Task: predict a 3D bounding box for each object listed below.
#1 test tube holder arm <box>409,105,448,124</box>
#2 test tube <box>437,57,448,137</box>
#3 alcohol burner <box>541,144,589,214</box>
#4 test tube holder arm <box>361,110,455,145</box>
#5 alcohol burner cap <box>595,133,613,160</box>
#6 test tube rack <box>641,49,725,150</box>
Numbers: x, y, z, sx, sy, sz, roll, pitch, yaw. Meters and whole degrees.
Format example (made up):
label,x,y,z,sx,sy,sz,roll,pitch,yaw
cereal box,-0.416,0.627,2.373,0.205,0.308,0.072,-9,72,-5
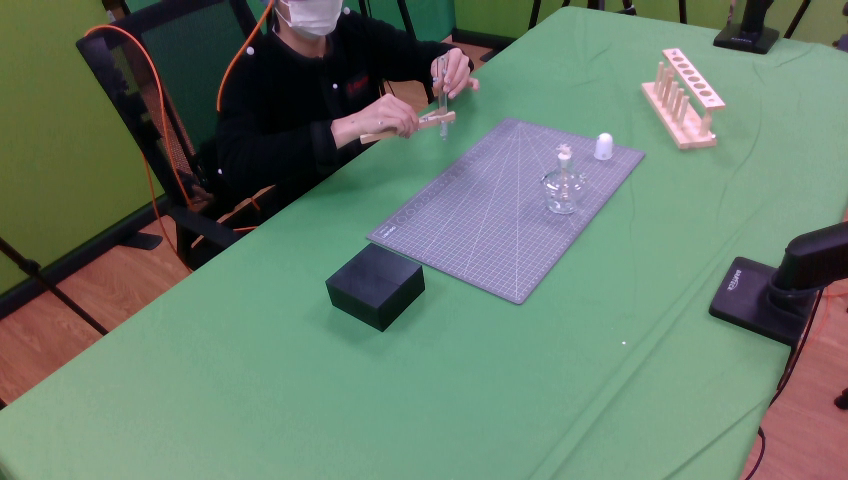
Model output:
label,x,y,z,sx,sy,sz,roll,pitch,yaw
test tube holder arm,0.008,-0.218,1.077,0.088,0.015,0.010,-33,46,-31
test tube,0.032,-0.247,1.062,0.017,0.151,0.017,-2,40,2
alcohol burner,0.229,-0.102,0.983,0.078,0.119,0.077,-6,41,5
test tube holder arm,-0.026,-0.198,1.056,0.179,0.015,0.013,-21,40,-19
alcohol burner cap,0.330,-0.172,1.104,0.034,0.048,0.033,-5,41,5
test tube rack,0.495,-0.279,1.175,0.067,0.085,0.241,-5,41,3
